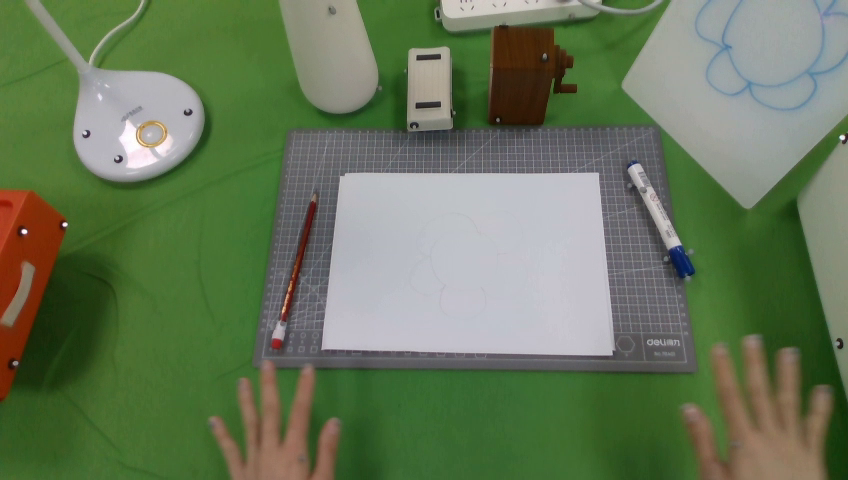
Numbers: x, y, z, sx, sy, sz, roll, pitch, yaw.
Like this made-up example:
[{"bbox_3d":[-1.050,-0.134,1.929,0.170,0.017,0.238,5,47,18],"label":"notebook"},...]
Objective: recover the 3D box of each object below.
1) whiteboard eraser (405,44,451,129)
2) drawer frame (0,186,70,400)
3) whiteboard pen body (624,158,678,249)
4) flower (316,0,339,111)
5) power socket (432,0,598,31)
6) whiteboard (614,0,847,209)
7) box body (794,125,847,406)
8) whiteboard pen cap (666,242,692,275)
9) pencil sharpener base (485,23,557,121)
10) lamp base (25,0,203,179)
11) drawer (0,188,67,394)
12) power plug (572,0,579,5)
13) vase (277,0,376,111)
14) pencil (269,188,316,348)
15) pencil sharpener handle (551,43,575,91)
[{"bbox_3d":[0.005,-0.186,0.743,0.055,0.042,0.112,-1,65,1],"label":"whiteboard eraser"},{"bbox_3d":[-0.500,0.045,0.595,0.213,0.083,0.200,3,66,2],"label":"drawer frame"},{"bbox_3d":[0.254,-0.031,0.666,0.017,0.017,0.139,-15,65,-3],"label":"whiteboard pen body"},{"bbox_3d":[-0.111,-0.288,0.619,0.038,0.365,0.043,-11,46,-9],"label":"flower"},{"bbox_3d":[0.123,-0.322,0.804,0.227,0.033,0.071,-5,66,0],"label":"power socket"},{"bbox_3d":[0.384,-0.222,0.627,0.144,0.307,0.215,-22,64,-28],"label":"whiteboard"},{"bbox_3d":[0.516,0.061,0.534,0.254,0.161,0.361,-1,65,3],"label":"box body"},{"bbox_3d":[0.268,0.019,0.639,0.018,0.018,0.033,-15,65,-3],"label":"whiteboard pen cap"},{"bbox_3d":[0.111,-0.191,0.704,0.076,0.108,0.061,2,65,4],"label":"pencil sharpener base"},{"bbox_3d":[-0.369,-0.185,0.686,0.178,0.182,0.160,31,70,19],"label":"lamp base"},{"bbox_3d":[-0.494,0.043,0.594,0.211,0.074,0.193,3,66,4],"label":"drawer"},{"bbox_3d":[0.175,-0.311,0.770,0.035,0.053,0.072,4,67,6],"label":"power plug"},{"bbox_3d":[-0.114,-0.237,0.686,0.098,0.201,0.097,-2,64,4],"label":"vase"},{"bbox_3d":[-0.142,0.025,0.669,0.012,0.012,0.192,6,65,7],"label":"pencil"},{"bbox_3d":[0.161,-0.195,0.689,0.030,0.068,0.035,2,64,4],"label":"pencil sharpener handle"}]
